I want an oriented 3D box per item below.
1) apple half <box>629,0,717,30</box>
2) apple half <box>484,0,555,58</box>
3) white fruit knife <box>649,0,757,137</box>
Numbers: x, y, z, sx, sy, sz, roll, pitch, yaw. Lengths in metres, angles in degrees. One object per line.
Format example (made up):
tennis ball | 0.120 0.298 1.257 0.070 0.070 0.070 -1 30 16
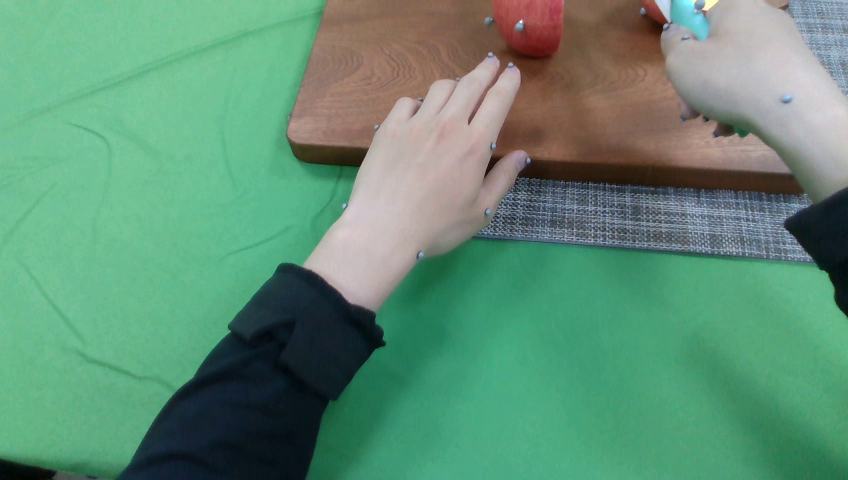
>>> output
apple half | 0.193 -0.192 0.495 0.081 0.033 0.080 12 44 -11
apple half | 0.074 -0.187 0.481 0.053 0.075 0.080 -4 63 6
white fruit knife | 0.164 -0.155 0.402 0.016 0.027 0.205 -12 62 -10
